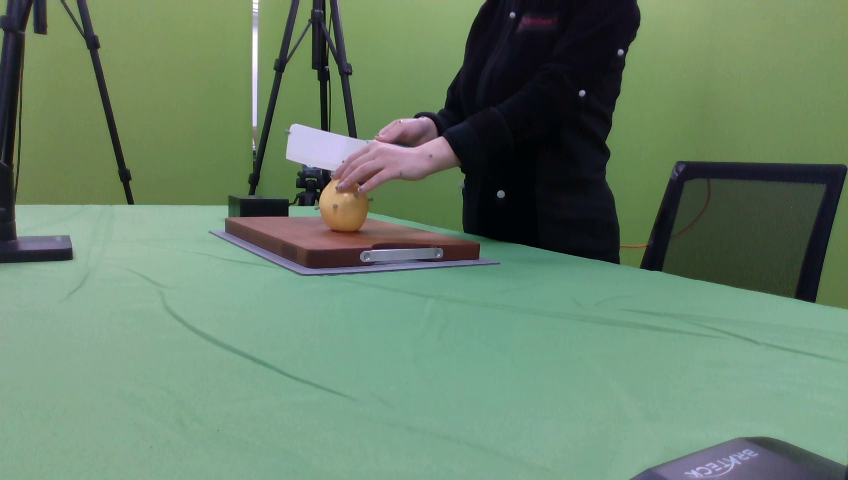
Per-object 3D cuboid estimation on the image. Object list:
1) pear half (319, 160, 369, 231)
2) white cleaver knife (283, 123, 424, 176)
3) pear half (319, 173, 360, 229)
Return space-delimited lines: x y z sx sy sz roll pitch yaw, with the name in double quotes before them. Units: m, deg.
"pear half" -0.118 -0.067 0.930 0.077 0.110 0.055 -11 13 -39
"white cleaver knife" -0.106 -0.138 0.988 0.288 0.066 0.021 3 2 -45
"pear half" -0.139 -0.062 0.958 0.071 0.088 0.031 -11 13 -39
